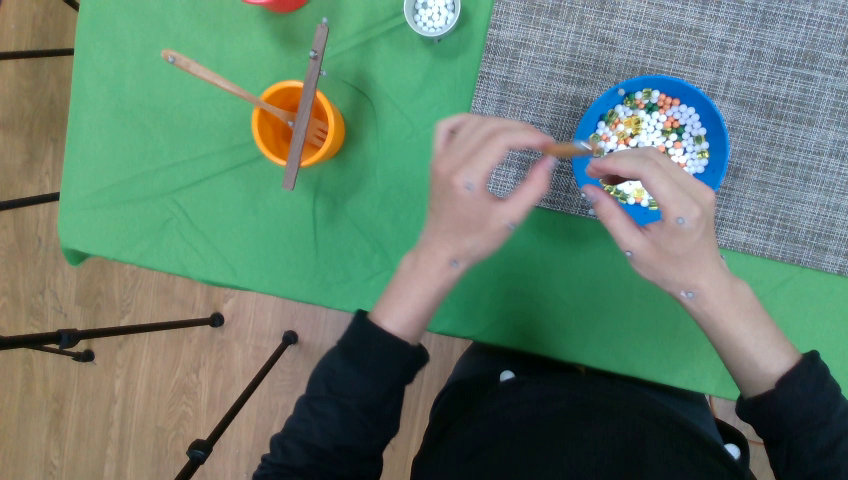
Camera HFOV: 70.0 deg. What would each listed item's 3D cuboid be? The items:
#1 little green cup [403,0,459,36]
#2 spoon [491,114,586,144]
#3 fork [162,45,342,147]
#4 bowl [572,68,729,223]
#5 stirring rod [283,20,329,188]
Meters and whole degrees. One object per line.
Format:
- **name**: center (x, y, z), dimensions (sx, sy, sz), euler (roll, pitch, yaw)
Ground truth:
- **little green cup**: center (0.010, -0.255, 0.664), dimensions (0.061, 0.038, 0.061), euler (1, 98, 8)
- **spoon**: center (0.089, -0.085, 0.477), dimensions (0.042, 0.192, 0.022), euler (17, 102, -10)
- **fork**: center (-0.176, -0.151, 0.646), dimensions (0.209, 0.018, 0.028), euler (23, 106, -40)
- **bowl**: center (0.227, -0.095, 0.634), dimensions (0.151, 0.077, 0.151), euler (1, 98, 8)
- **stirring rod**: center (-0.125, -0.141, 0.638), dimensions (0.014, 0.006, 0.176), euler (15, 100, 4)
